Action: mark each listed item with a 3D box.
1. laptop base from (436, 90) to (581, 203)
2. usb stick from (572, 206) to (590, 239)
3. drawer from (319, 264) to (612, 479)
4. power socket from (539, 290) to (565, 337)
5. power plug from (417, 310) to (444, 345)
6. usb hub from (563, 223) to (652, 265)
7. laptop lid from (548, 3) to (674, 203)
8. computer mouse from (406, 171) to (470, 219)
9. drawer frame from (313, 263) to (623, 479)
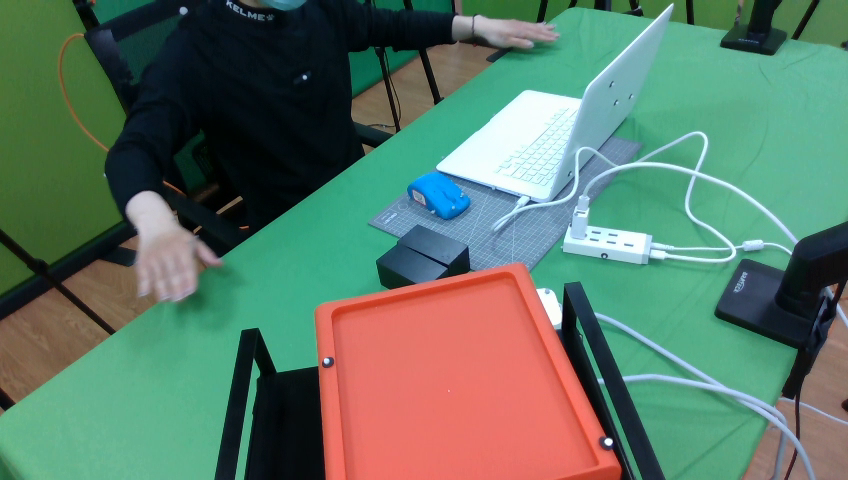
[{"bbox_3d":[0.214,-0.192,1.172,0.233,0.023,0.355,19,46,32],"label":"laptop base"},{"bbox_3d":[0.237,-0.021,0.916,0.021,0.059,0.027,9,41,17],"label":"usb stick"},{"bbox_3d":[0.020,0.129,0.497,0.195,0.073,0.210,-11,41,-5],"label":"drawer"},{"bbox_3d":[0.081,0.112,0.822,0.227,0.033,0.072,-6,41,0],"label":"power socket"},{"bbox_3d":[0.007,0.122,0.785,0.035,0.053,0.072,1,39,7],"label":"power plug"},{"bbox_3d":[0.281,0.005,0.925,0.124,0.025,0.049,10,43,19],"label":"usb hub"},{"bbox_3d":[0.320,-0.235,1.026,0.013,0.242,0.357,31,50,20],"label":"laptop lid"},{"bbox_3d":[0.024,-0.082,1.049,0.063,0.041,0.116,-30,50,-27],"label":"computer mouse"},{"bbox_3d":[0.021,0.130,0.493,0.202,0.083,0.212,-11,41,-6],"label":"drawer frame"}]
